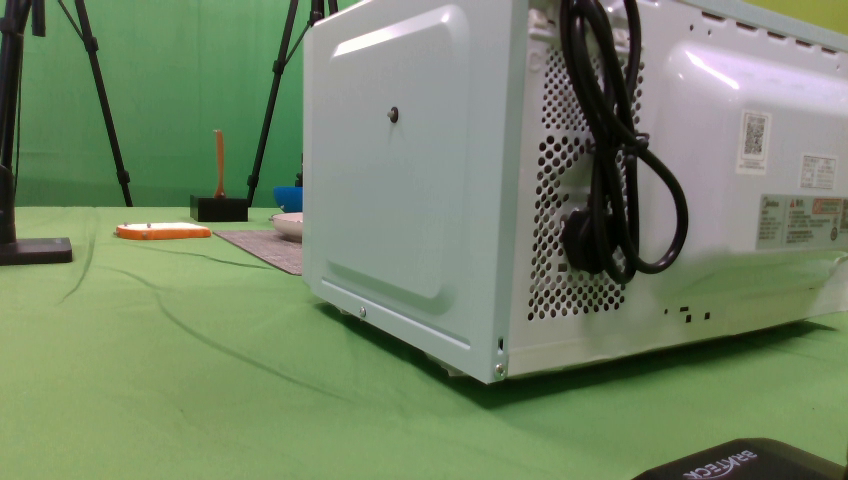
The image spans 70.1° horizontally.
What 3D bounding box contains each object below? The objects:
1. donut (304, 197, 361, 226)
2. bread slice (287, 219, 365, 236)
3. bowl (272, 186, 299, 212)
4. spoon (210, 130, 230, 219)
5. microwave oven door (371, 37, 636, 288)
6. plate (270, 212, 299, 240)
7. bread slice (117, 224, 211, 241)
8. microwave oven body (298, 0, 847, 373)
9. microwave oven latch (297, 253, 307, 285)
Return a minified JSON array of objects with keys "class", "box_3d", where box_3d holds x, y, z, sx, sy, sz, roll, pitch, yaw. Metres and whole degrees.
[{"class":"donut","box_3d":[-0.160,-0.050,1.055,0.099,0.048,0.099,3,8,0]},{"class":"bread slice","box_3d":[-0.170,-0.022,1.056,0.134,0.018,0.107,2,7,-6]},{"class":"bowl","box_3d":[-0.254,-0.075,1.318,0.151,0.077,0.151,2,7,0]},{"class":"spoon","box_3d":[-0.436,-0.138,1.296,0.042,0.193,0.021,-3,23,-27]},{"class":"microwave oven door","box_3d":[0.109,-0.080,0.686,0.358,0.243,0.039,-2,9,-33]},{"class":"plate","box_3d":[-0.162,-0.022,1.058,0.208,0.039,0.207,2,7,0]},{"class":"bread slice","box_3d":[-0.443,-0.015,1.022,0.132,0.019,0.104,-3,8,-45]},{"class":"microwave oven body","box_3d":[0.151,-0.055,0.542,0.444,0.260,0.324,-1,7,-33]},{"class":"microwave oven latch","box_3d":[-0.082,0.027,0.582,0.079,0.029,0.030,-1,7,-32]}]
